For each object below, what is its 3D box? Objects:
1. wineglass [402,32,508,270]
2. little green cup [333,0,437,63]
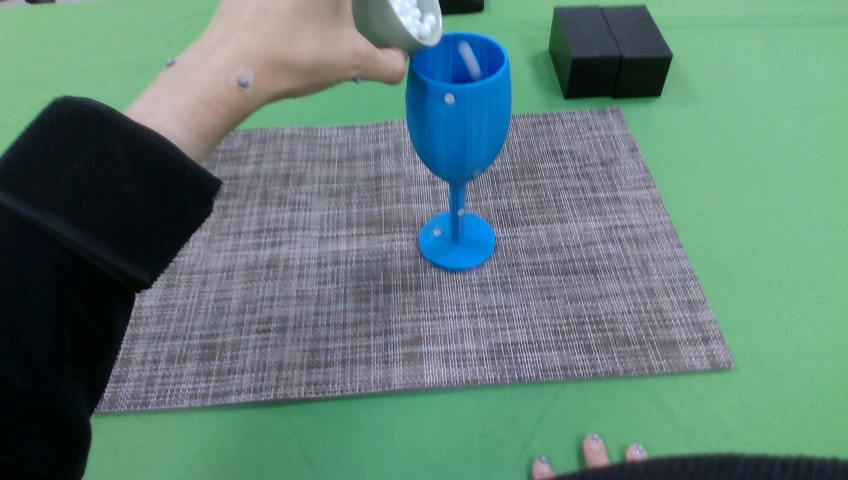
[{"bbox_3d":[0.022,-0.057,0.443,0.074,0.174,0.073,-1,49,1],"label":"wineglass"},{"bbox_3d":[-0.024,-0.139,0.367,0.038,0.062,0.061,-15,41,32],"label":"little green cup"}]
